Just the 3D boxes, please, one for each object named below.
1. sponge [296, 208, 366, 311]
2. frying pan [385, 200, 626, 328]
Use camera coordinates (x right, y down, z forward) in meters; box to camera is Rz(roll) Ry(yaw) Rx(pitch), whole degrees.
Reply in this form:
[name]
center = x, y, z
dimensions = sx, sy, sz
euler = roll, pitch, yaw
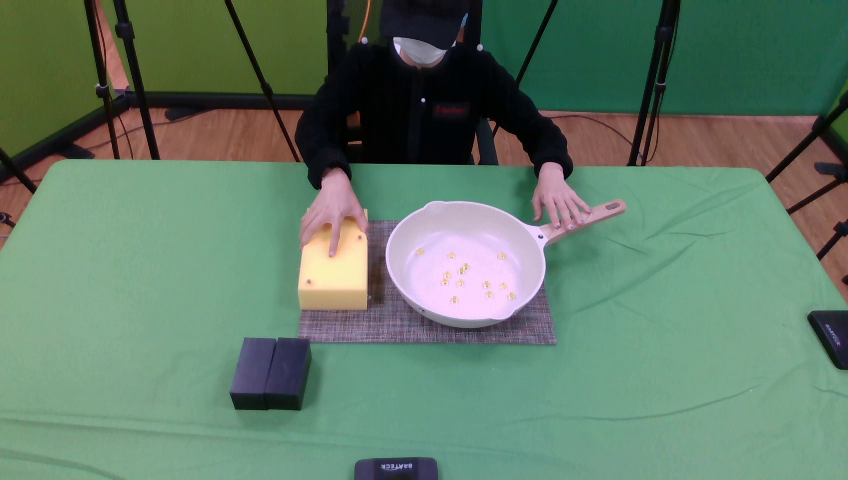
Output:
[sponge]
center = -0.167, 0.033, 1.123
dimensions = 0.118, 0.061, 0.205
euler = 0, 46, -5
[frying pan]
center = 0.169, 0.014, 1.137
dimensions = 0.488, 0.103, 0.304
euler = -19, 51, -11
